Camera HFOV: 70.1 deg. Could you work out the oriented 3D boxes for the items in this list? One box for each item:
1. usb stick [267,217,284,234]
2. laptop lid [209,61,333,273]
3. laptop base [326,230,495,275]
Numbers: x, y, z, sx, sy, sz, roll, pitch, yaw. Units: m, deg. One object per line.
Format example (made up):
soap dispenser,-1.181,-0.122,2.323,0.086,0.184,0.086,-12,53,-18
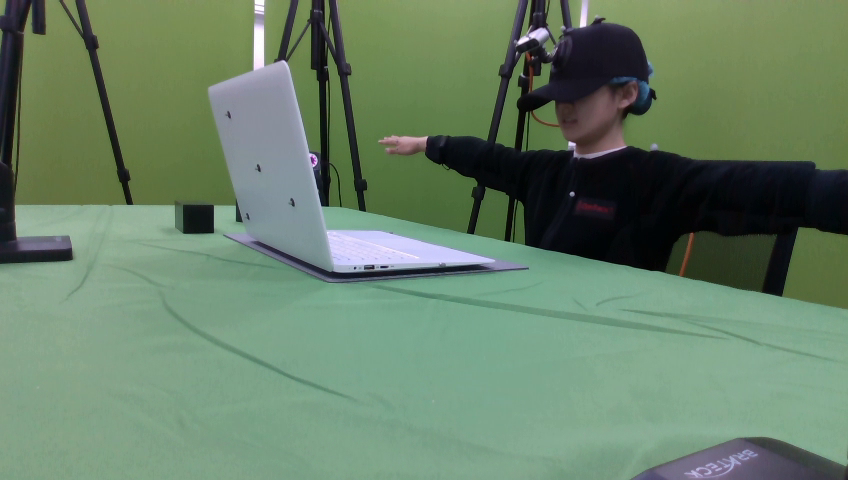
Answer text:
usb stick,-0.263,-0.025,1.079,0.021,0.027,0.059,-1,11,-28
laptop lid,-0.213,-0.095,0.790,0.013,0.241,0.355,-18,18,-29
laptop base,-0.093,0.015,0.884,0.237,0.023,0.352,3,6,-32
